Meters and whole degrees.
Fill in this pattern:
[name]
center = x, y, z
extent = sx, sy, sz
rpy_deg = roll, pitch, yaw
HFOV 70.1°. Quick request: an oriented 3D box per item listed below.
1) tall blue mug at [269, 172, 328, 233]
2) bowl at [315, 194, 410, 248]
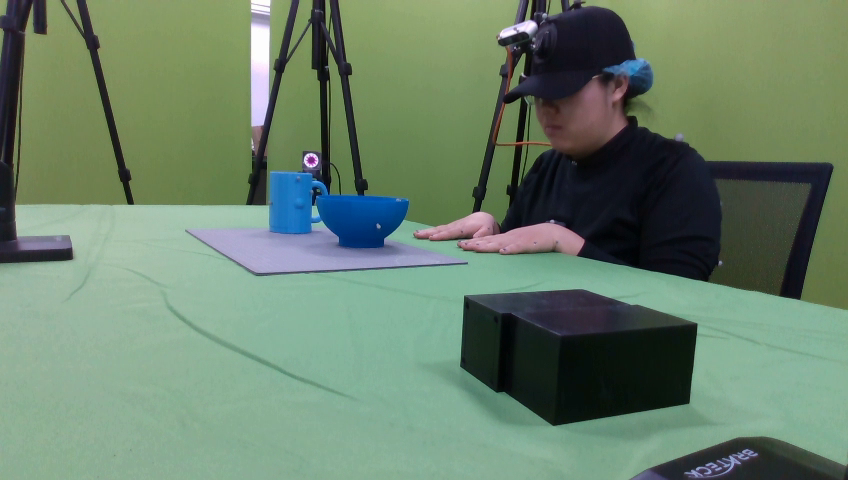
[tall blue mug]
center = -0.236, -0.071, 1.118
extent = 0.077, 0.108, 0.107
rpy_deg = 5, 8, 25
[bowl]
center = -0.099, -0.030, 0.971
extent = 0.151, 0.077, 0.151
rpy_deg = 2, 7, 0
